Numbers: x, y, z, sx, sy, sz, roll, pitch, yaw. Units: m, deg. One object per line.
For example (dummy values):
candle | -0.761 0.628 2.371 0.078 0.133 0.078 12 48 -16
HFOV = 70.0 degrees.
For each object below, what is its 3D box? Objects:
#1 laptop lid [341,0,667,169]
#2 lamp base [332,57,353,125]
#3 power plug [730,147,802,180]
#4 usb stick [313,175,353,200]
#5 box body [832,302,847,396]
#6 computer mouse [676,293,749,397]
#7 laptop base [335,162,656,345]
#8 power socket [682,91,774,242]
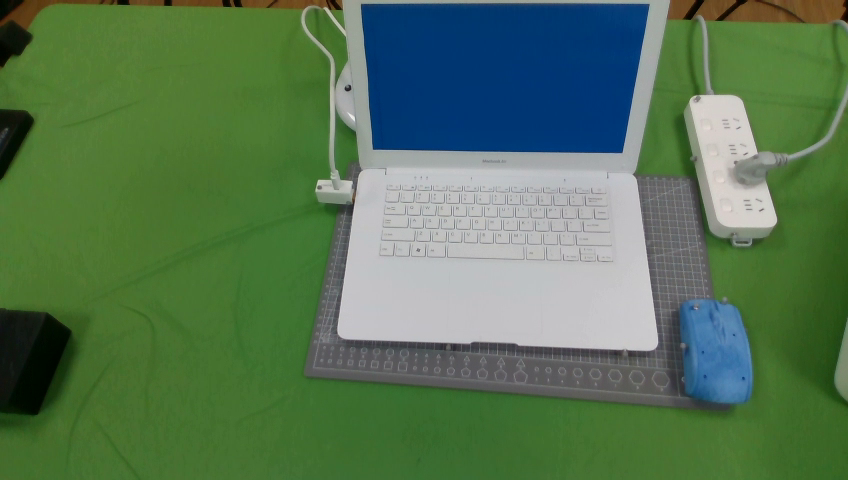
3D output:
laptop lid | 0.086 -0.186 0.710 0.356 0.244 0.013 0 36 4
lamp base | -0.060 -0.261 0.794 0.160 0.182 0.177 -31 60 -15
power plug | 0.406 -0.085 0.727 0.072 0.053 0.035 11 59 7
usb stick | -0.107 -0.066 0.761 0.059 0.027 0.021 6 55 3
box body | 0.596 0.034 0.599 0.253 0.162 0.362 25 64 16
computer mouse | 0.304 0.107 0.641 0.062 0.041 0.116 6 56 8
laptop base | 0.082 0.010 0.722 0.354 0.023 0.233 1 63 4
power socket | 0.379 -0.102 0.765 0.072 0.033 0.224 2 60 2
